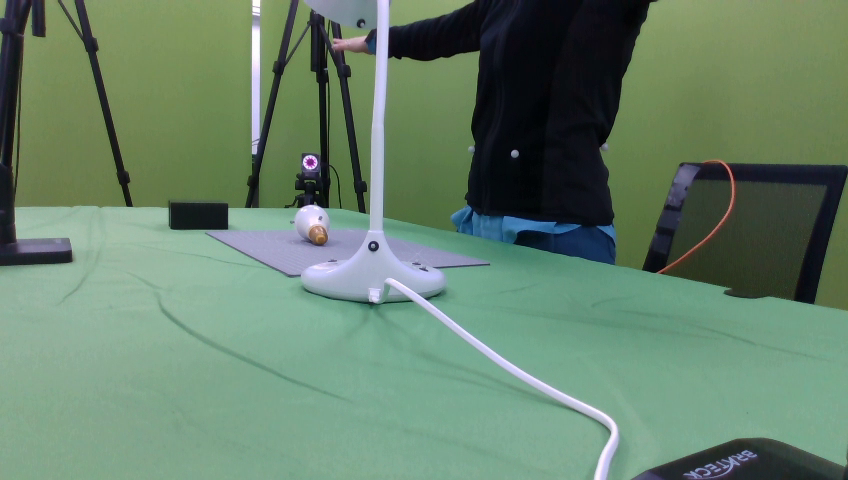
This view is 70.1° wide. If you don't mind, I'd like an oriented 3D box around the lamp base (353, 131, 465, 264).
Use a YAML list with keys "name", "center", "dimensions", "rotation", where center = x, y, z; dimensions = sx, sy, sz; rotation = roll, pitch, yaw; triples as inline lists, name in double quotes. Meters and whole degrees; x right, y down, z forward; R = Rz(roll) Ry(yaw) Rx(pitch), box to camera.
- name: "lamp base"
  center: [-0.014, -0.062, 0.851]
  dimensions: [0.161, 0.180, 0.178]
  rotation: [-1, 11, -20]
